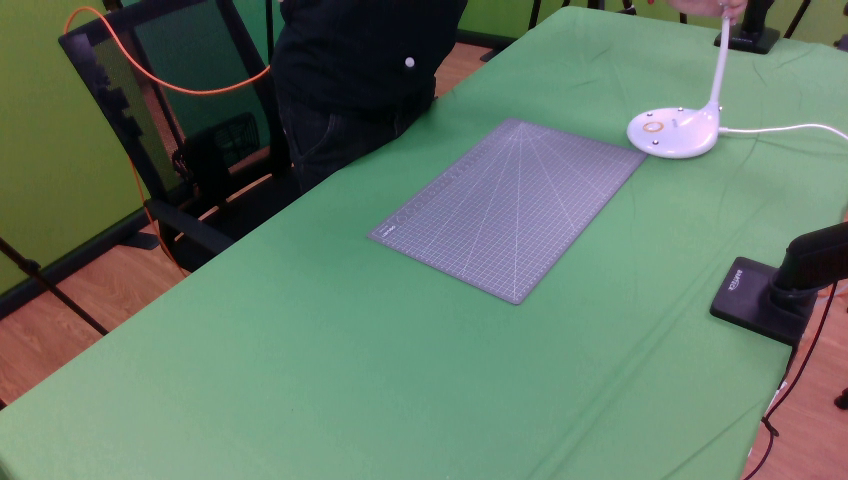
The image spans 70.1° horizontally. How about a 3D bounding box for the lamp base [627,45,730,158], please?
[{"bbox_3d":[0.469,-0.262,1.086,0.179,0.181,0.159,-4,41,-1],"label":"lamp base"}]
